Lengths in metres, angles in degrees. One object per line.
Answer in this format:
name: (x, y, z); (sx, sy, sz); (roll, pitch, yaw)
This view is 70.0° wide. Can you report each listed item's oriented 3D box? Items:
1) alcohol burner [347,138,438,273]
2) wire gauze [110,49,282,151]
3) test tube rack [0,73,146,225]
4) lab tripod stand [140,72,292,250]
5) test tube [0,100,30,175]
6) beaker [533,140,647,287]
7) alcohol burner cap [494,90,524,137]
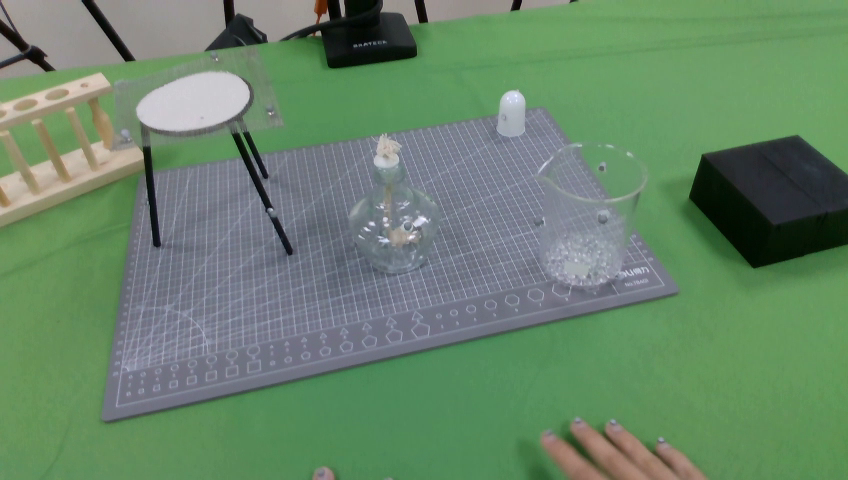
alcohol burner: (-0.027, -0.031, 0.499); (0.078, 0.120, 0.077); (-2, 42, 2)
wire gauze: (-0.184, -0.112, 0.479); (0.125, 0.011, 0.120); (-15, 45, -12)
test tube rack: (-0.410, -0.073, 0.587); (0.242, 0.086, 0.066); (-29, 49, -25)
lab tripod stand: (-0.181, -0.064, 0.526); (0.148, 0.133, 0.147); (-2, 46, 2)
test tube: (-0.407, -0.128, 0.571); (0.017, 0.151, 0.017); (0, 37, 0)
beaker: (0.127, -0.018, 0.487); (0.084, 0.101, 0.073); (2, 44, 7)
alcohol burner cap: (0.093, -0.140, 0.658); (0.034, 0.048, 0.033); (-1, 44, 2)
